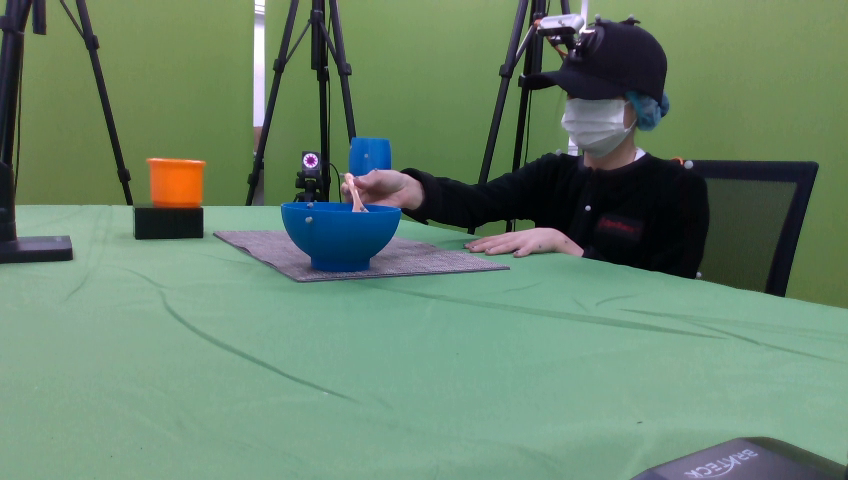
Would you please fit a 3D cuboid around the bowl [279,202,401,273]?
[{"bbox_3d":[-0.105,-0.004,0.756,0.151,0.077,0.151,3,7,0],"label":"bowl"}]

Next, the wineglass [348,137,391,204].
[{"bbox_3d":[-0.092,-0.081,0.998,0.074,0.172,0.073,3,7,0],"label":"wineglass"}]

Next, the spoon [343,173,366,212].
[{"bbox_3d":[-0.092,-0.054,0.803,0.042,0.021,0.193,-7,31,-9],"label":"spoon"}]
